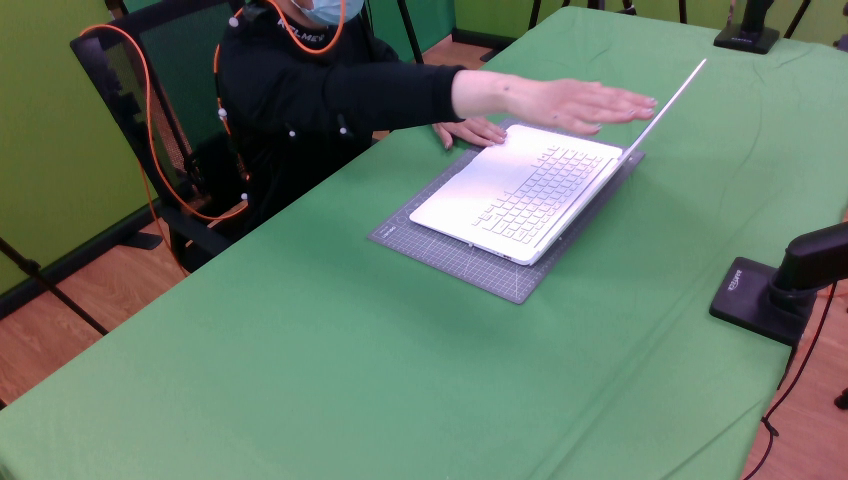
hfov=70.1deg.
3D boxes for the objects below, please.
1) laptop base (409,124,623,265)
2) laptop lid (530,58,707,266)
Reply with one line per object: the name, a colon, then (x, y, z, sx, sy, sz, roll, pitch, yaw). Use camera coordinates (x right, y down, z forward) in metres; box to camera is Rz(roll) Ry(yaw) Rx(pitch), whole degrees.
laptop base: (0.168, -0.095, 1.057, 0.233, 0.023, 0.355, 20, 47, 32)
laptop lid: (0.293, -0.118, 0.905, 0.013, 0.241, 0.357, 40, 53, 9)
